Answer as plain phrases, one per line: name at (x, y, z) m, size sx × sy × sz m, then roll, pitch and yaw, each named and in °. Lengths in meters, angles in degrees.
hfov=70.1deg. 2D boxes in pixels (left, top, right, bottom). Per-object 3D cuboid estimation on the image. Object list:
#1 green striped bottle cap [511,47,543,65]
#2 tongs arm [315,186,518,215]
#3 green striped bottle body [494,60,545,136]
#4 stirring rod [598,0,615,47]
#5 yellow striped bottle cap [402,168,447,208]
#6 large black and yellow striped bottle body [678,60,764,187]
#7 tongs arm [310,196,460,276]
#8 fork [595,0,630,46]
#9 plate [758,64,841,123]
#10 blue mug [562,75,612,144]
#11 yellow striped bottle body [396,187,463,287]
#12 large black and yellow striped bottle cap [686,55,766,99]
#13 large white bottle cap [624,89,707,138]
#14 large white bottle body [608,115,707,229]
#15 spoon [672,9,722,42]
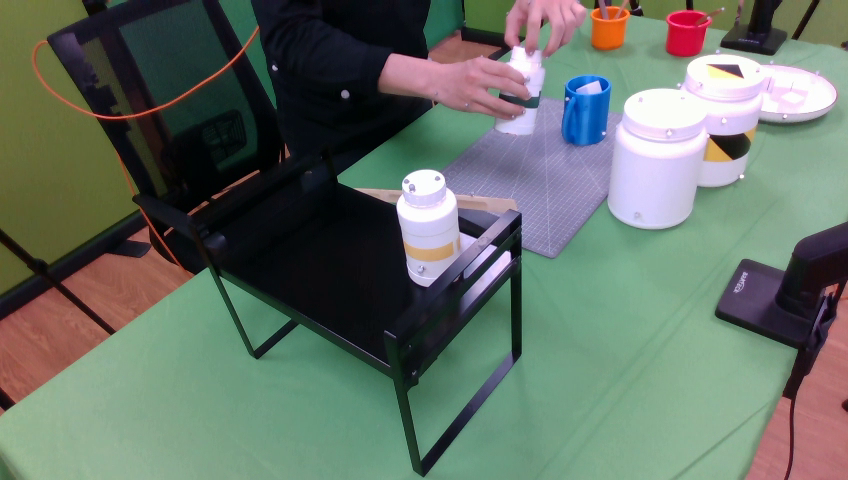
green striped bottle cap at (0.151, -0.270, 0.887) m, size 0.044 × 0.020 × 0.044 m, roll 8°, pitch 21°, yaw -3°
tongs arm at (-0.028, -0.060, 0.988) m, size 0.382 × 0.027 × 0.051 m, roll 10°, pitch 45°, yaw 36°
green striped bottle body at (0.145, -0.222, 0.909) m, size 0.063 × 0.119 × 0.063 m, roll 6°, pitch 26°, yaw -3°
stirring rod at (0.437, -0.551, 1.462) m, size 0.014 × 0.006 × 0.175 m, roll -11°, pitch 83°, yaw 1°
yellow striped bottle cap at (0.000, -0.052, 0.604) m, size 0.044 × 0.019 × 0.044 m, roll -5°, pitch 43°, yaw 5°
large black and yellow striped bottle body at (0.482, -0.196, 1.008) m, size 0.131 × 0.185 × 0.130 m, roll -4°, pitch 41°, yaw 4°
tongs arm at (-0.078, -0.012, 0.944) m, size 0.028 × 0.028 × 0.384 m, roll -43°, pitch 39°, yaw -22°
fork at (0.479, -0.556, 1.452) m, size 0.028 × 0.019 × 0.207 m, roll 41°, pitch 103°, yaw 40°
plate at (0.694, -0.283, 1.189) m, size 0.207 × 0.039 × 0.206 m, roll -4°, pitch 40°, yaw 4°
blue mug at (0.298, -0.239, 1.143) m, size 0.081 × 0.106 × 0.117 m, roll 30°, pitch 54°, yaw 36°
yellow striped bottle body at (0.006, -0.013, 0.638) m, size 0.063 × 0.121 × 0.062 m, roll -5°, pitch 41°, yaw 5°
large black and yellow striped bottle cap at (0.474, -0.258, 0.952) m, size 0.115 × 0.019 × 0.114 m, roll -5°, pitch 41°, yaw 5°
large white bottle cap at (0.352, -0.187, 0.886) m, size 0.115 × 0.018 × 0.114 m, roll -4°, pitch 41°, yaw 4°
large white bottle body at (0.361, -0.124, 0.942) m, size 0.130 × 0.185 × 0.130 m, roll -4°, pitch 41°, yaw 4°
spoon at (0.606, -0.476, 1.345) m, size 0.042 × 0.021 × 0.193 m, roll -6°, pitch -3°, yaw -2°
